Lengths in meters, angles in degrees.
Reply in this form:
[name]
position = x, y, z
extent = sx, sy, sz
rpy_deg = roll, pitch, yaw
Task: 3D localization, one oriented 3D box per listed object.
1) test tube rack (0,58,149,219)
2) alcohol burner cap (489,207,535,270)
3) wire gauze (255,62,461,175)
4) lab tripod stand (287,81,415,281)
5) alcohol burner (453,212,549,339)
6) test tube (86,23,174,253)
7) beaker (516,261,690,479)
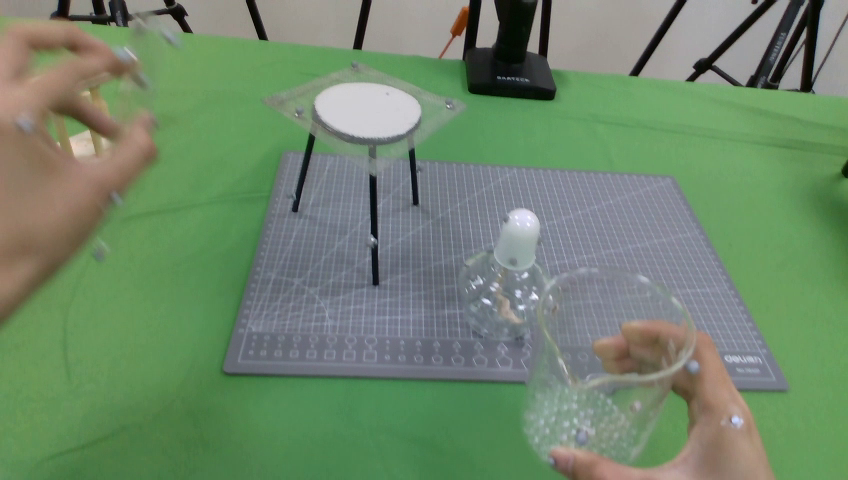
[test tube rack]
position = -0.385, -0.080, 0.549
extent = 0.066, 0.086, 0.242
rpy_deg = 31, 46, 23
[alcohol burner cap]
position = 0.068, -0.003, 0.456
extent = 0.034, 0.048, 0.033
rpy_deg = 2, 46, -2
[wire gauze]
position = -0.051, -0.108, 0.491
extent = 0.124, 0.011, 0.121
rpy_deg = 32, 48, 22
[lab tripod stand]
position = -0.056, -0.059, 0.537
extent = 0.148, 0.132, 0.147
rpy_deg = 6, 42, -5
[alcohol burner]
position = 0.064, 0.023, 0.481
extent = 0.078, 0.120, 0.077
rpy_deg = 6, 41, -5
[test tube]
position = -0.169, -0.051, 0.342
extent = 0.017, 0.151, 0.017
rpy_deg = 24, 29, -14
[beaker]
position = 0.087, 0.074, 0.320
extent = 0.073, 0.101, 0.084
rpy_deg = 23, 45, 24
